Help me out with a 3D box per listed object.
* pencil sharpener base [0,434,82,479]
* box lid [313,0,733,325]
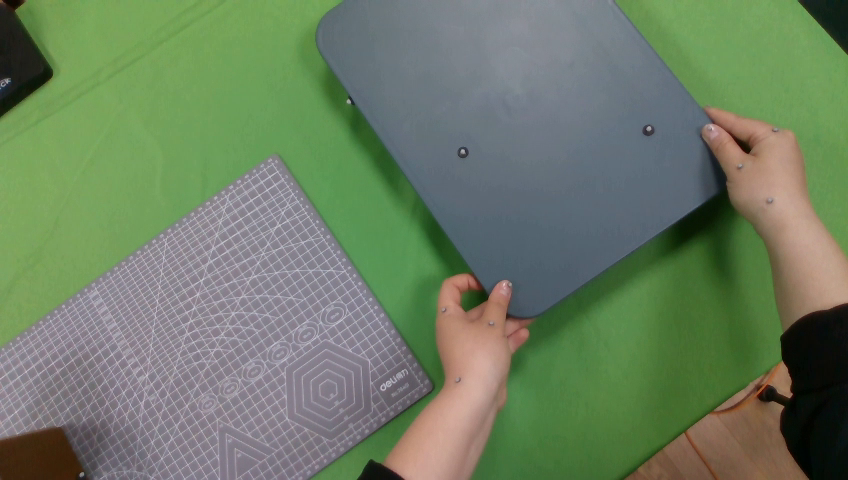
[{"bbox_3d":[-0.387,0.237,0.571,0.061,0.107,0.076,-35,80,-1],"label":"pencil sharpener base"},{"bbox_3d":[0.085,-0.133,0.585,0.263,0.015,0.370,-35,80,0],"label":"box lid"}]
